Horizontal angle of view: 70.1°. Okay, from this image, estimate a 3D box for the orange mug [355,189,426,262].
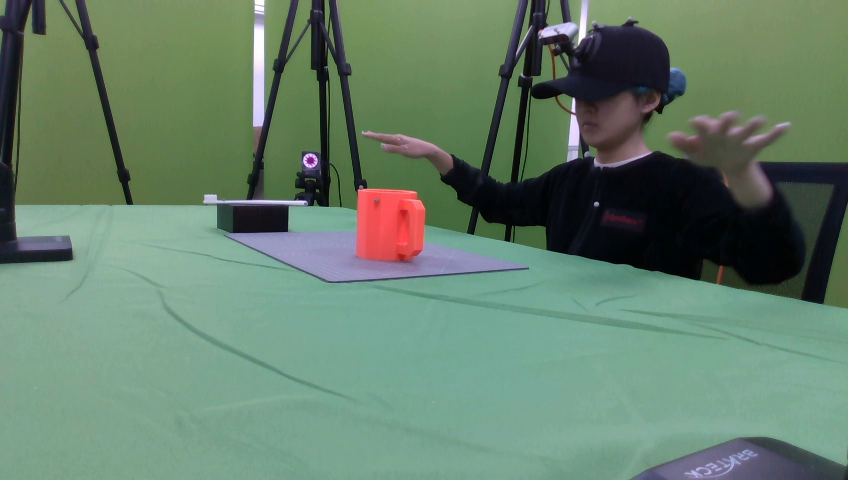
[{"bbox_3d":[-0.043,-0.022,0.854,0.084,0.100,0.125,-3,5,-40],"label":"orange mug"}]

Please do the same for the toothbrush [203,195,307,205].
[{"bbox_3d":[-0.306,-0.072,1.105,0.183,0.016,0.014,0,4,-22],"label":"toothbrush"}]
